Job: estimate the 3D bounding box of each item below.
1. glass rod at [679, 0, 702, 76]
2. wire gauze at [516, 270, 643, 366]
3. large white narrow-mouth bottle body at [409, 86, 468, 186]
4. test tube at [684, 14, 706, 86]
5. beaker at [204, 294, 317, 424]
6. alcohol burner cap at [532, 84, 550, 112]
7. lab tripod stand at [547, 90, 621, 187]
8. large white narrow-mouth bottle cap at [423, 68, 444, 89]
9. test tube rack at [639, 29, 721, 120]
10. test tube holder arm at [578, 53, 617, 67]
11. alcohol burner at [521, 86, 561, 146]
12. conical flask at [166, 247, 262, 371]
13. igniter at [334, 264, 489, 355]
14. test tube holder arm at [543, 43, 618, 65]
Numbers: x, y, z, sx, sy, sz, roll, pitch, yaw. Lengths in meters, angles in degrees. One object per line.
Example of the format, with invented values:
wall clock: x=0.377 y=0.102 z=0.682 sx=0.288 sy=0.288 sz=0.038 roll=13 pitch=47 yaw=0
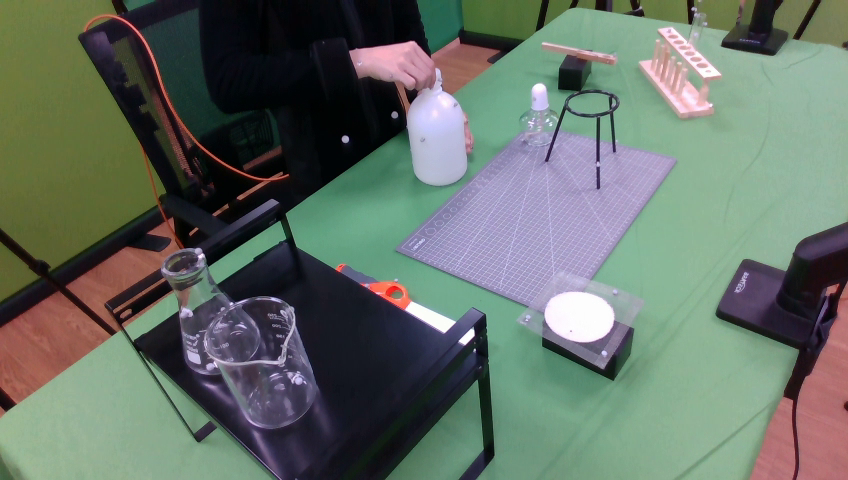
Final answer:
glass rod: x=0.543 y=-0.417 z=1.233 sx=0.008 sy=0.200 sz=0.008 roll=1 pitch=40 yaw=0
wire gauze: x=0.200 y=0.093 z=0.777 sx=0.124 sy=0.011 sz=0.122 roll=23 pitch=49 yaw=32
large white narrow-mouth bottle body: x=0.024 y=-0.201 z=1.082 sx=0.102 sy=0.195 sz=0.101 roll=-4 pitch=40 yaw=4
test tube: x=0.540 y=-0.378 z=1.215 sx=0.017 sy=0.151 sz=0.017 roll=-2 pitch=44 yaw=3
beaker: x=-0.137 y=0.110 z=0.536 sx=0.083 sy=0.101 sz=0.074 roll=30 pitch=53 yaw=36
alcohol burner cap: x=0.218 y=-0.269 z=1.133 sx=0.034 sy=0.048 sz=0.033 roll=-8 pitch=36 yaw=7
lab tripod stand: x=0.288 y=-0.184 z=1.063 sx=0.148 sy=0.132 sz=0.147 roll=-6 pitch=41 yaw=6
large white narrow-mouth bottle cap: x=0.016 y=-0.273 z=1.020 sx=0.038 sy=0.024 sz=0.037 roll=-4 pitch=40 yaw=4
test tube rack: x=0.527 y=-0.351 z=1.262 sx=0.067 sy=0.085 sz=0.241 roll=-8 pitch=40 yaw=1
test tube holder arm: x=0.376 y=-0.393 z=1.314 sx=0.087 sy=0.015 sz=0.010 roll=26 pitch=51 yaw=32
alcohol burner: x=0.223 y=-0.241 z=1.156 sx=0.078 sy=0.119 sz=0.077 roll=-5 pitch=43 yaw=5
conical flask: x=-0.208 y=0.064 z=0.584 sx=0.075 sy=0.122 sz=0.075 roll=-5 pitch=40 yaw=4
igniter: x=-0.030 y=0.095 z=0.871 sx=0.274 sy=0.025 sz=0.057 roll=22 pitch=59 yaw=31
test tube holder arm: x=0.345 y=-0.413 z=1.341 sx=0.177 sy=0.015 sz=0.013 roll=25 pitch=51 yaw=31
